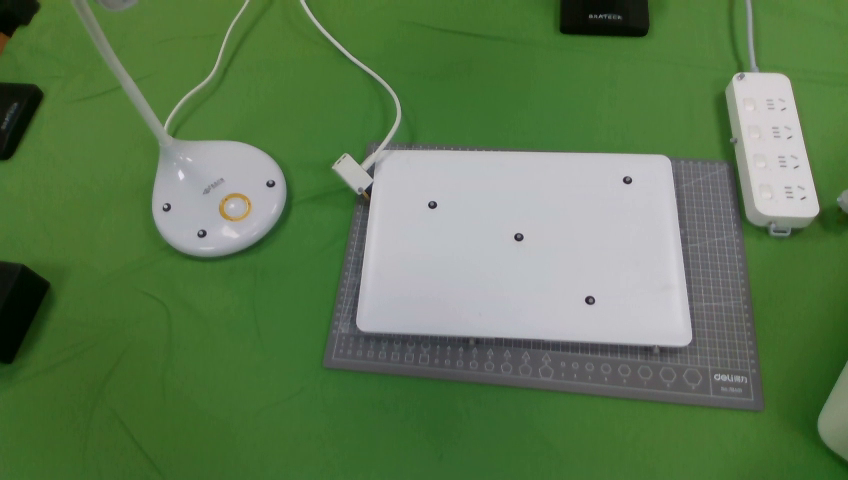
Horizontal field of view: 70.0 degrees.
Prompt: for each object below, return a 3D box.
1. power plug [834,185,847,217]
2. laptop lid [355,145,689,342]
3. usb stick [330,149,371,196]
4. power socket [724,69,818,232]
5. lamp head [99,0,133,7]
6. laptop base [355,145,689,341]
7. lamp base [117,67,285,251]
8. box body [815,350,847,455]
[{"bbox_3d":[0.495,-0.051,0.682,0.073,0.053,0.035,-16,59,-23],"label":"power plug"},{"bbox_3d":[0.106,-0.006,0.681,0.356,0.013,0.240,3,66,5],"label":"laptop lid"},{"bbox_3d":[-0.083,-0.079,0.723,0.027,0.059,0.021,-43,24,-8],"label":"usb stick"},{"bbox_3d":[0.410,-0.116,0.724,0.072,0.033,0.225,4,63,4],"label":"power socket"},{"bbox_3d":[-0.233,-0.234,0.401,0.123,0.112,0.112,31,67,-7],"label":"lamp head"},{"bbox_3d":[0.108,-0.003,0.693,0.354,0.023,0.234,2,67,4],"label":"laptop base"},{"bbox_3d":[-0.265,-0.100,0.675,0.178,0.182,0.160,29,68,20],"label":"lamp base"},{"bbox_3d":[0.562,0.093,0.535,0.252,0.161,0.363,36,70,19],"label":"box body"}]
